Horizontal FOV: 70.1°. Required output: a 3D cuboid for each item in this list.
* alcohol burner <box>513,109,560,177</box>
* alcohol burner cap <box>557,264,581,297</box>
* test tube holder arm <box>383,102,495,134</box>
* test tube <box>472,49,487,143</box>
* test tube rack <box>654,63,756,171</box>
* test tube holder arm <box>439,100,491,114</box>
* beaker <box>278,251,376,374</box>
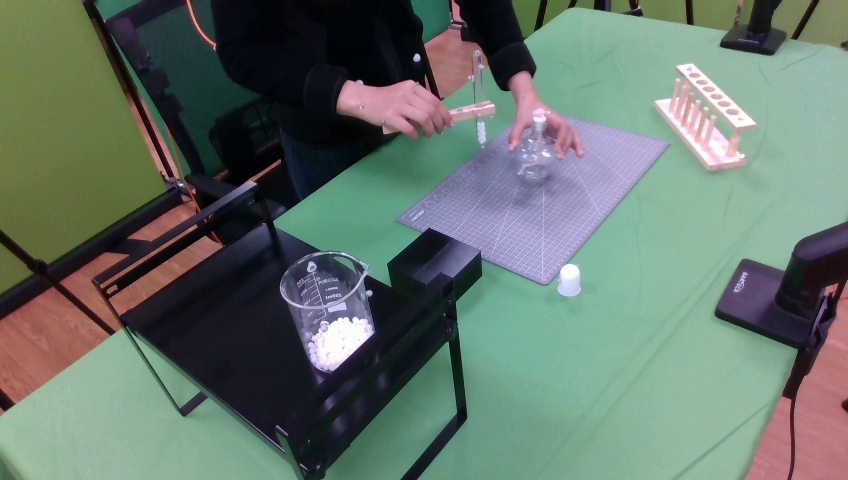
[{"bbox_3d":[0.188,-0.165,1.006,0.078,0.119,0.077,-1,41,2],"label":"alcohol burner"},{"bbox_3d":[0.208,0.055,0.866,0.034,0.048,0.033,-4,42,4],"label":"alcohol burner cap"},{"bbox_3d":[0.024,-0.187,0.925,0.179,0.015,0.013,-15,30,-13],"label":"test tube holder arm"},{"bbox_3d":[0.086,-0.219,0.934,0.017,0.151,0.017,-5,35,4],"label":"test tube"},{"bbox_3d":[0.510,-0.233,1.120,0.067,0.085,0.241,-8,41,-1],"label":"test tube rack"},{"bbox_3d":[0.065,-0.201,0.941,0.088,0.015,0.010,-18,31,-19],"label":"test tube holder arm"},{"bbox_3d":[-0.084,0.070,0.570,0.084,0.101,0.073,-18,42,-13],"label":"beaker"}]
